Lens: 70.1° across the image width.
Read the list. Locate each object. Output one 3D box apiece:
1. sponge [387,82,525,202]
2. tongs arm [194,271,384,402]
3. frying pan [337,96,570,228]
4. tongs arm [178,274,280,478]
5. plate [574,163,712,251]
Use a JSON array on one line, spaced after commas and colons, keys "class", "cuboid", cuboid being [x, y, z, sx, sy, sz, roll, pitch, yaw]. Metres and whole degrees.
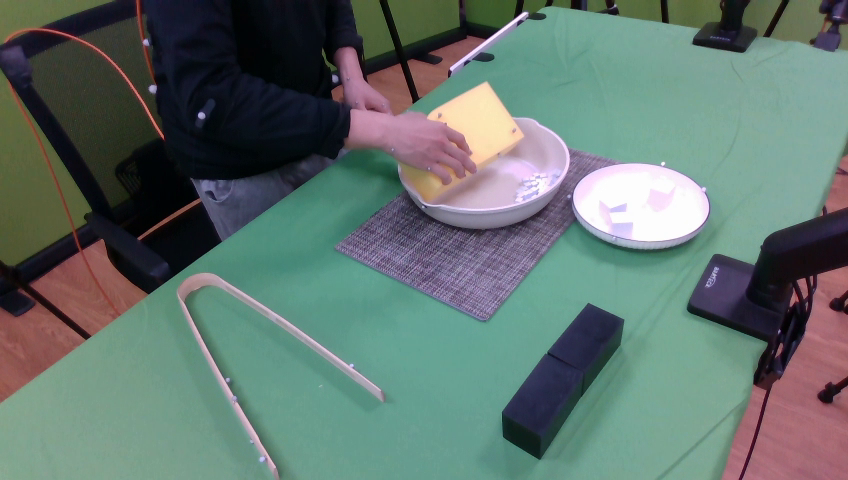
[{"class": "sponge", "cuboid": [0.055, -0.168, 1.022, 0.207, 0.061, 0.118, -34, 86, -27]}, {"class": "tongs arm", "cuboid": [-0.199, 0.124, 0.846, 0.384, 0.028, 0.028, 25, 53, 32]}, {"class": "frying pan", "cuboid": [0.023, -0.167, 1.090, 0.484, 0.103, 0.308, 32, 52, 26]}, {"class": "tongs arm", "cuboid": [-0.260, 0.161, 0.806, 0.051, 0.026, 0.381, -29, 45, -24]}, {"class": "plate", "cuboid": [0.344, -0.050, 0.966, 0.207, 0.039, 0.206, -4, 40, 4]}]
